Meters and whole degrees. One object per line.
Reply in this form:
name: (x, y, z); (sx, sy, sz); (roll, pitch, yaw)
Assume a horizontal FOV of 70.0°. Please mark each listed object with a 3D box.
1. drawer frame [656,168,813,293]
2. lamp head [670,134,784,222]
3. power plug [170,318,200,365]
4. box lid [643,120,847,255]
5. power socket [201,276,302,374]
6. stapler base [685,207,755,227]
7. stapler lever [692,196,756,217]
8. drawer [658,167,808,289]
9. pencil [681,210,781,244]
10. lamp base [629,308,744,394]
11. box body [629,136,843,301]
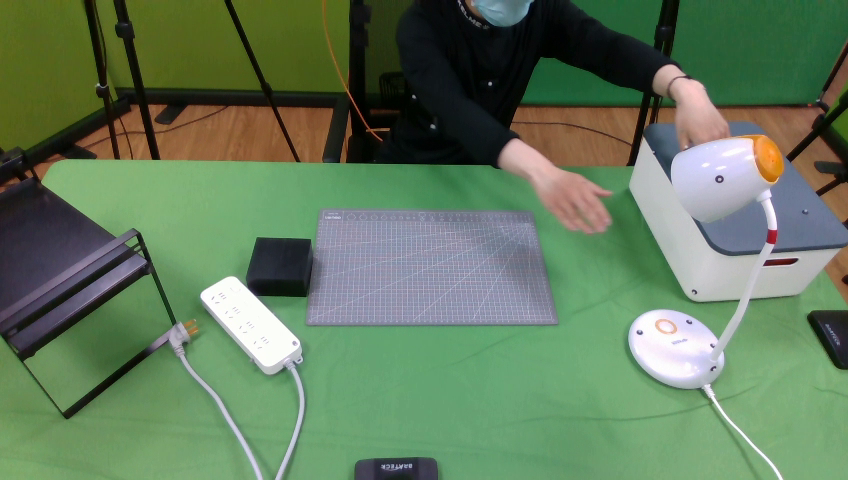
drawer frame: (0.583, -0.022, 1.161); (0.202, 0.083, 0.212); (-11, 54, 2)
lamp head: (0.422, -0.089, 0.829); (0.113, 0.123, 0.112); (8, 74, -32)
power plug: (-0.392, 0.167, 1.013); (0.052, 0.035, 0.072); (-31, 89, -23)
box lid: (0.596, -0.115, 1.150); (0.263, 0.015, 0.369); (-3, 46, -7)
power socket: (-0.297, 0.141, 1.034); (0.072, 0.033, 0.225); (-34, 58, -30)
stapler base: (0.590, -0.051, 1.205); (0.130, 0.024, 0.041); (3, 58, 11)
stapler lever: (0.588, -0.065, 1.185); (0.118, 0.040, 0.026); (2, 58, 12)
drawer: (0.583, -0.024, 1.164); (0.194, 0.073, 0.210); (-11, 55, 3)
pencil: (0.599, -0.027, 1.186); (0.194, 0.012, 0.012); (19, 48, 10)
lamp base: (0.446, 0.139, 0.987); (0.161, 0.181, 0.178); (-18, 53, -20)
box body: (0.593, -0.062, 1.202); (0.254, 0.161, 0.361); (-3, 47, -7)
